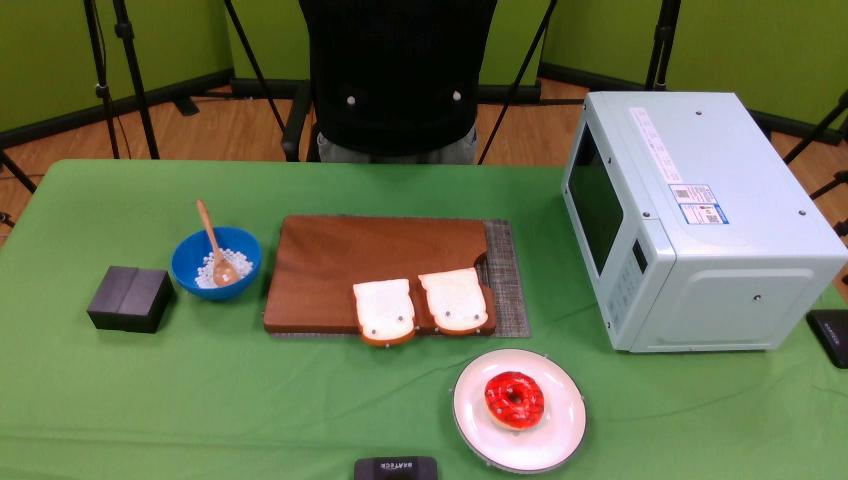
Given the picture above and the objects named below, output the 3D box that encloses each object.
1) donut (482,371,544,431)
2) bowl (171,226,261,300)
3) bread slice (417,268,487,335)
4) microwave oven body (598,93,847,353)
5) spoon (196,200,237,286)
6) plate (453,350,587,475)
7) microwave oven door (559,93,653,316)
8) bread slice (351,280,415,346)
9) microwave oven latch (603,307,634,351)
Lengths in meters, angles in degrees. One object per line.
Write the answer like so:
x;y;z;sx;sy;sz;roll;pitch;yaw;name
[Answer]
0.139;0.251;0.942;0.099;0.048;0.098;5;45;-5;donut
-0.363;0.054;1.081;0.151;0.077;0.150;2;45;-2;bowl
0.055;0.107;1.063;0.107;0.018;0.133;-9;48;-12;bread slice
0.475;-0.041;1.110;0.326;0.261;0.438;-1;45;-4;microwave oven body
-0.378;0.003;1.086;0.042;0.022;0.193;-15;67;-24;spoon
0.147;0.267;0.943;0.208;0.039;0.206;2;46;-2;plate
0.327;-0.074;1.123;0.039;0.245;0.353;0;46;-5;microwave oven door
-0.067;0.123;1.041;0.105;0.019;0.130;-7;47;-9;bread slice
0.332;0.153;1.044;0.030;0.029;0.078;0;45;-3;microwave oven latch
